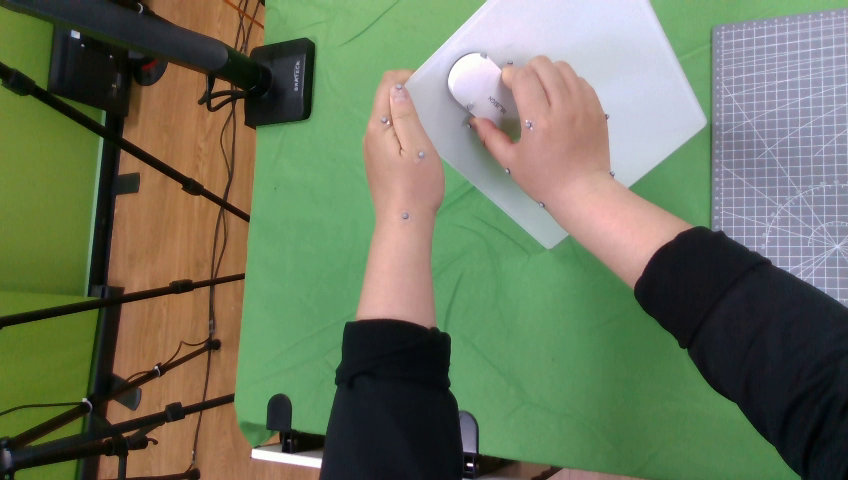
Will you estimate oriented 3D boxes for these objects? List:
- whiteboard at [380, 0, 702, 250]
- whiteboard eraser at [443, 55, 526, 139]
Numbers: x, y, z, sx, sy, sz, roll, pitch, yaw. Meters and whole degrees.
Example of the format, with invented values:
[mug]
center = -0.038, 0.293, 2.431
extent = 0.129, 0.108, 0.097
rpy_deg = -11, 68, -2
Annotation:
[whiteboard]
center = 0.108, -0.161, 0.608
extent = 0.217, 0.309, 0.142
rpy_deg = -40, 48, 16
[whiteboard eraser]
center = 0.052, -0.119, 0.510
extent = 0.041, 0.102, 0.018
rpy_deg = -45, 52, 14
